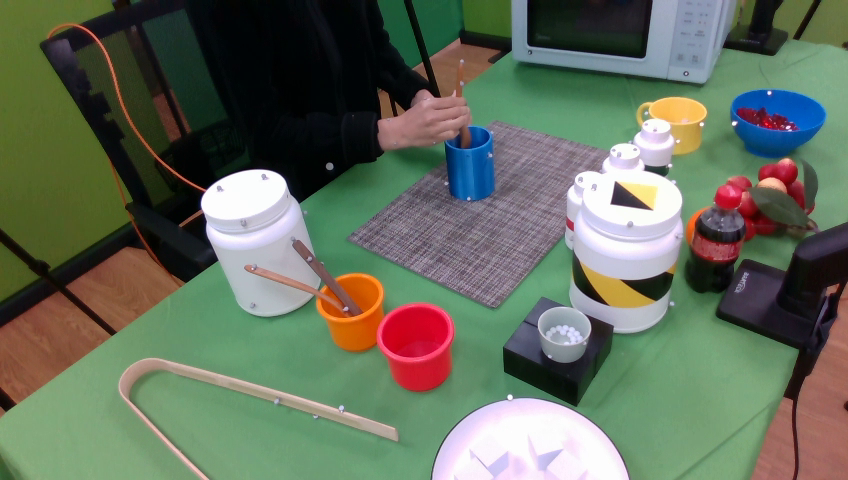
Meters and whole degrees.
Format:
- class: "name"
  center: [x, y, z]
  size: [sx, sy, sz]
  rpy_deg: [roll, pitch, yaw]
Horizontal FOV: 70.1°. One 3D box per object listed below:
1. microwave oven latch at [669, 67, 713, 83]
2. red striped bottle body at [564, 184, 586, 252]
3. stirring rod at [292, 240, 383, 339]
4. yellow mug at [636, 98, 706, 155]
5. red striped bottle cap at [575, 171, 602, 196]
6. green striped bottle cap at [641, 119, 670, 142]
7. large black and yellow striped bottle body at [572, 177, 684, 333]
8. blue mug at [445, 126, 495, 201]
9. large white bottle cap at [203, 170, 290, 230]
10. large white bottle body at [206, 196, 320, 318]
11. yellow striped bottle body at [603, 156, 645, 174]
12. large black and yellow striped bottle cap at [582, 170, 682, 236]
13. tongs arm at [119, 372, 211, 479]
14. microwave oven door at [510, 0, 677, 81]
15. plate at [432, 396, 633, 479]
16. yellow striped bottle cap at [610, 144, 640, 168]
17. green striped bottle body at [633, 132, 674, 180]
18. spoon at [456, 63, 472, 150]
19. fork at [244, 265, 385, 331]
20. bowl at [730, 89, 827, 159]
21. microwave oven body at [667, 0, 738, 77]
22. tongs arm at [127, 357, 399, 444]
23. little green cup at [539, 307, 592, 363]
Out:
- class: "microwave oven latch"
  center: [0.556, -0.348, 1.261]
  size: [0.078, 0.029, 0.030]
  rpy_deg: [16, 46, 27]
- class: "red striped bottle body"
  center: [0.247, -0.041, 0.910]
  size: [0.063, 0.120, 0.062]
  rpy_deg: [-3, 39, 3]
- class: "stirring rod"
  center: [-0.118, 0.068, 0.826]
  size: [0.176, 0.006, 0.014]
  rpy_deg: [49, 59, -4]
- class: "yellow mug"
  center: [0.453, -0.217, 1.128]
  size: [0.100, 0.064, 0.129]
  rpy_deg: [-34, 46, -27]
- class: "red striped bottle cap"
  center: [0.242, -0.081, 0.876]
  size: [0.044, 0.018, 0.044]
  rpy_deg: [-5, 44, 5]
- class: "green striped bottle cap"
  center: [0.371, -0.175, 0.968]
  size: [0.044, 0.020, 0.044]
  rpy_deg: [-5, 42, 4]
- class: "large black and yellow striped bottle body"
  center: [0.262, 0.017, 0.788]
  size: [0.131, 0.185, 0.130]
  rpy_deg: [-5, 40, 4]
- class: "blue mug"
  center: [0.076, -0.142, 1.063]
  size: [0.082, 0.106, 0.115]
  rpy_deg: [-15, 40, -9]
- class: "large white bottle cap"
  center: [-0.241, -0.057, 0.822]
  size: [0.115, 0.018, 0.114]
  rpy_deg: [-4, 41, 4]
- class: "large white bottle body"
  center: [-0.233, 0.008, 0.876]
  size: [0.130, 0.185, 0.130]
  rpy_deg: [-4, 40, 4]
- class: "yellow striped bottle body"
  center: [0.313, -0.089, 0.956]
  size: [0.063, 0.121, 0.062]
  rpy_deg: [-4, 40, 4]
- class: "large black and yellow striped bottle cap"
  center: [0.252, -0.048, 0.735]
  size: [0.115, 0.019, 0.114]
  rpy_deg: [-3, 40, 3]
- class: "tongs arm"
  center: [-0.257, 0.256, 0.700]
  size: [0.384, 0.028, 0.028]
  rpy_deg: [24, 55, 33]
- class: "microwave oven door"
  center: [0.354, -0.478, 1.290]
  size: [0.353, 0.245, 0.039]
  rpy_deg: [15, 45, 25]
- class: "plate"
  center: [0.112, 0.261, 0.634]
  size: [0.209, 0.038, 0.208]
  rpy_deg: [-5, 40, 4]
- class: "yellow striped bottle cap"
  center: [0.307, -0.128, 0.923]
  size: [0.044, 0.019, 0.044]
  rpy_deg: [-5, 39, 5]
- class: "green striped bottle body"
  center: [0.376, -0.135, 1.001]
  size: [0.063, 0.120, 0.063]
  rpy_deg: [-5, 40, 5]
- class: "spoon"
  center: [0.062, -0.206, 0.987]
  size: [0.021, 0.195, 0.041]
  rpy_deg: [16, 57, 21]
- class: "fork"
  center: [-0.142, 0.078, 0.806]
  size: [0.209, 0.018, 0.028]
  rpy_deg: [30, 32, -23]
- class: "bowl"
  center: [0.615, -0.197, 1.069]
  size: [0.151, 0.077, 0.150]
  rpy_deg: [-5, 40, 5]
- class: "microwave oven body"
  center: [0.462, -0.552, 1.369]
  size: [0.439, 0.261, 0.326]
  rpy_deg: [15, 45, 26]
- class: "tongs arm"
  center: [-0.213, 0.205, 0.755]
  size: [0.382, 0.026, 0.051]
  rpy_deg: [12, 46, 23]
- class: "little green cup"
  center: [0.167, 0.114, 0.721]
  size: [0.061, 0.039, 0.061]
  rpy_deg: [-4, 43, 4]
